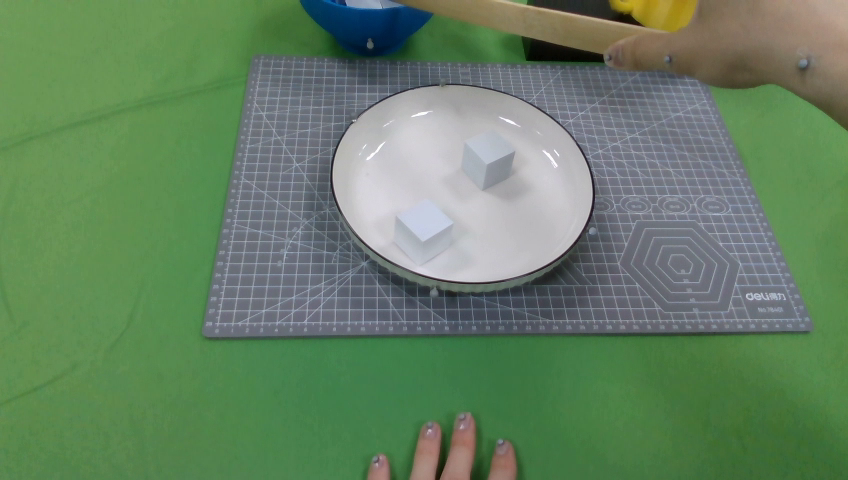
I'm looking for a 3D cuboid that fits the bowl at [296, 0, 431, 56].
[{"bbox_3d":[-0.055,-0.235,0.591,0.151,0.077,0.150,2,55,-2],"label":"bowl"}]

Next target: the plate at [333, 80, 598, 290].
[{"bbox_3d":[0.033,-0.045,0.489,0.208,0.039,0.205,2,55,-3],"label":"plate"}]

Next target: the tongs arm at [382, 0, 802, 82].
[{"bbox_3d":[0.063,-0.169,0.444,0.384,0.028,0.028,28,64,35],"label":"tongs arm"}]

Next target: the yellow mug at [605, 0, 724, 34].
[{"bbox_3d":[0.230,-0.248,0.570,0.131,0.064,0.099,-14,58,-12],"label":"yellow mug"}]

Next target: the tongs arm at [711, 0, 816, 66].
[{"bbox_3d":[0.107,-0.212,0.459,0.050,0.027,0.380,-42,51,-14],"label":"tongs arm"}]
